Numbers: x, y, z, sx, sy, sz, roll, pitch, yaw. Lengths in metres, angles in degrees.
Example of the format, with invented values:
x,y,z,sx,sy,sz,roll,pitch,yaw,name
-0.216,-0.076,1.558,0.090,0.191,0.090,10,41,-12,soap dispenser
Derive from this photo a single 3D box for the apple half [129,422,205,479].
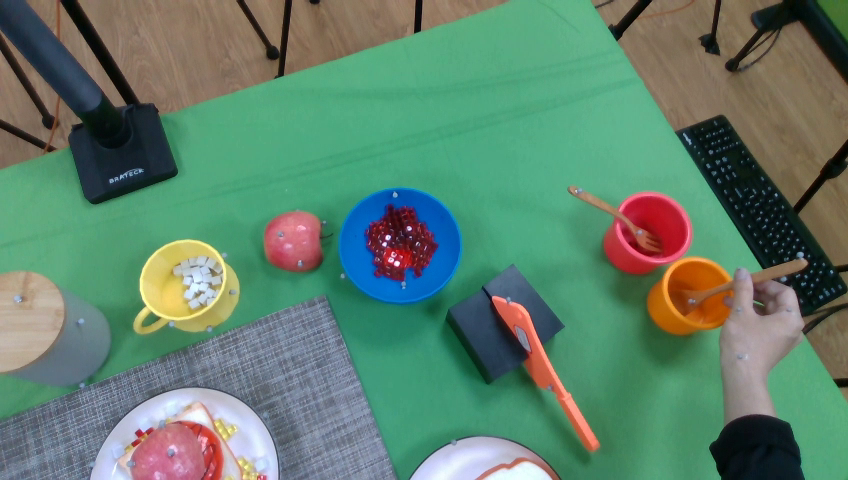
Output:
x,y,z,sx,sy,sz,roll,pitch,yaw,name
-0.267,0.228,0.621,0.081,0.033,0.080,-1,69,3,apple half

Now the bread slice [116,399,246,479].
x,y,z,sx,sy,sz,roll,pitch,yaw,name
-0.259,0.262,0.678,0.107,0.018,0.133,-38,78,-15,bread slice

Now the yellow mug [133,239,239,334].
x,y,z,sx,sy,sz,roll,pitch,yaw,name
-0.296,0.066,0.736,0.099,0.064,0.130,43,74,12,yellow mug

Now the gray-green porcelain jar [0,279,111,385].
x,y,z,sx,sy,sz,roll,pitch,yaw,name
-0.425,0.105,0.681,0.106,0.127,0.105,1,69,-3,gray-green porcelain jar

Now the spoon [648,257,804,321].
x,y,z,sx,sy,sz,roll,pitch,yaw,name
0.350,0.058,0.718,0.022,0.194,0.041,15,61,-27,spoon

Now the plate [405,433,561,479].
x,y,z,sx,sy,sz,roll,pitch,yaw,name
0.066,0.325,0.679,0.209,0.038,0.207,1,70,-3,plate

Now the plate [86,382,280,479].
x,y,z,sx,sy,sz,roll,pitch,yaw,name
-0.263,0.265,0.676,0.208,0.039,0.206,1,70,-3,plate

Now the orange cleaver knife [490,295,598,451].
x,y,z,sx,sy,sz,roll,pitch,yaw,name
0.140,0.157,0.721,0.012,0.077,0.212,-32,96,-21,orange cleaver knife

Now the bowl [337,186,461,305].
x,y,z,sx,sy,sz,roll,pitch,yaw,name
-0.032,0.016,0.764,0.151,0.077,0.150,1,70,-3,bowl

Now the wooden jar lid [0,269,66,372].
x,y,z,sx,sy,sz,roll,pitch,yaw,name
-0.423,0.083,0.621,0.108,0.021,0.107,2,67,-4,wooden jar lid

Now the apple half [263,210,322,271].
x,y,z,sx,sy,sz,roll,pitch,yaw,name
-0.170,-0.004,0.776,0.075,0.053,0.080,0,70,-1,apple half

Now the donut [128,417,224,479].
x,y,z,sx,sy,sz,roll,pitch,yaw,name
-0.266,0.242,0.654,0.099,0.048,0.098,1,71,-2,donut

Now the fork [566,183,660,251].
x,y,z,sx,sy,sz,roll,pitch,yaw,name
0.242,-0.027,0.760,0.209,0.018,0.028,26,63,-39,fork
